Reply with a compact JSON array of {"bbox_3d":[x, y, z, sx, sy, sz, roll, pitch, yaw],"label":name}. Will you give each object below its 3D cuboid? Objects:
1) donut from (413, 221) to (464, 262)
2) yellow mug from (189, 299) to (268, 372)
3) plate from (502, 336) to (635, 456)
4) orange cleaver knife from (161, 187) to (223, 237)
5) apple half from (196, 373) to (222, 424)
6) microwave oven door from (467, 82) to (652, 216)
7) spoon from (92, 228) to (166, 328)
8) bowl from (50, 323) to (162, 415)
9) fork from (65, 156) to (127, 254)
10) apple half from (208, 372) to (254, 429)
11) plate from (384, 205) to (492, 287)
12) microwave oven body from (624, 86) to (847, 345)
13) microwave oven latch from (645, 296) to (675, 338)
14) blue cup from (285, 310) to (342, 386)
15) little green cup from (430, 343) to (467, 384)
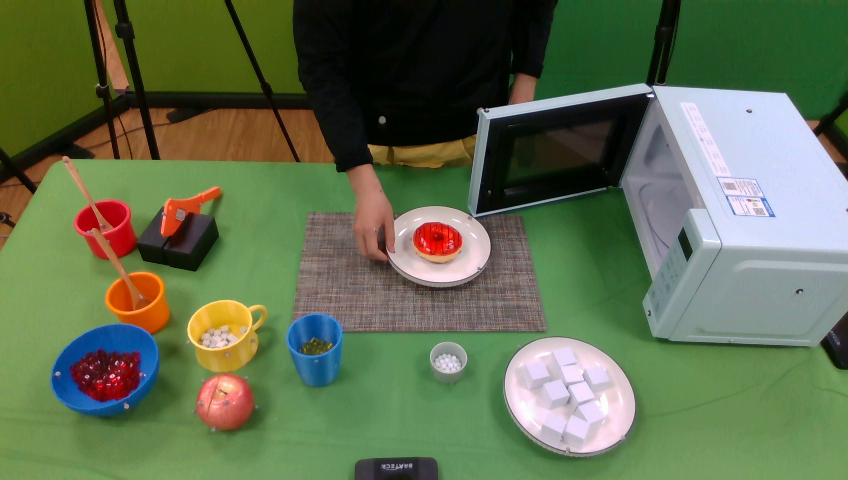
[{"bbox_3d":[0.028,0.002,1.166,0.099,0.048,0.098,3,44,-2],"label":"donut"},{"bbox_3d":[-0.316,0.149,1.002,0.131,0.064,0.099,-32,56,-32],"label":"yellow mug"},{"bbox_3d":[0.225,0.248,0.963,0.208,0.039,0.206,2,46,-2],"label":"plate"},{"bbox_3d":[-0.448,-0.058,1.180,0.012,0.077,0.211,13,17,6],"label":"orange cleaver knife"},{"bbox_3d":[-0.322,0.239,0.907,0.033,0.081,0.081,7,46,-1],"label":"apple half"},{"bbox_3d":[0.267,-0.181,1.214,0.356,0.245,0.039,-13,49,-15],"label":"microwave oven door"},{"bbox_3d":[-0.495,0.063,1.014,0.041,0.194,0.021,-34,12,-31],"label":"spoon"},{"bbox_3d":[-0.472,0.209,0.924,0.151,0.077,0.150,3,45,-2],"label":"bowl"},{"bbox_3d":[-0.614,-0.064,1.130,0.028,0.018,0.207,-29,97,-16],"label":"fork"},{"bbox_3d":[-0.282,0.244,0.908,0.053,0.075,0.080,7,43,-1],"label":"apple half"},{"bbox_3d":[0.027,0.015,1.169,0.209,0.038,0.208,2,46,-2],"label":"plate"},{"bbox_3d":[0.567,-0.053,1.118,0.326,0.261,0.439,2,45,-1],"label":"microwave oven body"},{"bbox_3d":[0.412,0.134,1.061,0.030,0.029,0.078,3,45,0],"label":"microwave oven latch"},{"bbox_3d":[-0.170,0.179,0.958,0.093,0.101,0.092,1,44,-1],"label":"blue cup"},{"bbox_3d":[0.039,0.203,0.994,0.061,0.039,0.061,2,46,-2],"label":"little green cup"}]
